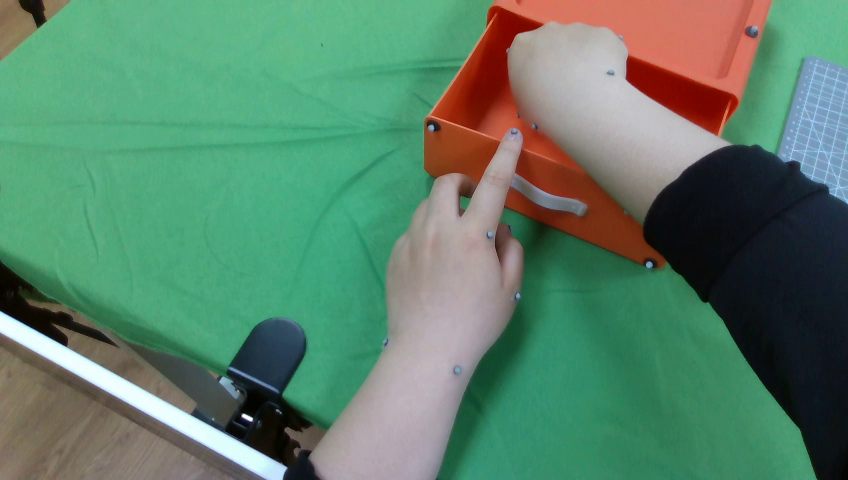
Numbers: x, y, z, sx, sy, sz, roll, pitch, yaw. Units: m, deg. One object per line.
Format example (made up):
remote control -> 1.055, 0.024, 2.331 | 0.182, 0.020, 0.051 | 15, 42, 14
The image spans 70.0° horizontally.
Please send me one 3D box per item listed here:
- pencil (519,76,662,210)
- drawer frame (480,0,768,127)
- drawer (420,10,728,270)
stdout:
pencil -> 0.127, -0.087, 0.506 | 0.012, 0.012, 0.192 | -32, 67, -18
drawer frame -> 0.180, -0.200, 0.527 | 0.201, 0.083, 0.212 | 24, 62, 11
drawer -> 0.128, -0.107, 0.477 | 0.194, 0.074, 0.211 | 24, 62, 11
